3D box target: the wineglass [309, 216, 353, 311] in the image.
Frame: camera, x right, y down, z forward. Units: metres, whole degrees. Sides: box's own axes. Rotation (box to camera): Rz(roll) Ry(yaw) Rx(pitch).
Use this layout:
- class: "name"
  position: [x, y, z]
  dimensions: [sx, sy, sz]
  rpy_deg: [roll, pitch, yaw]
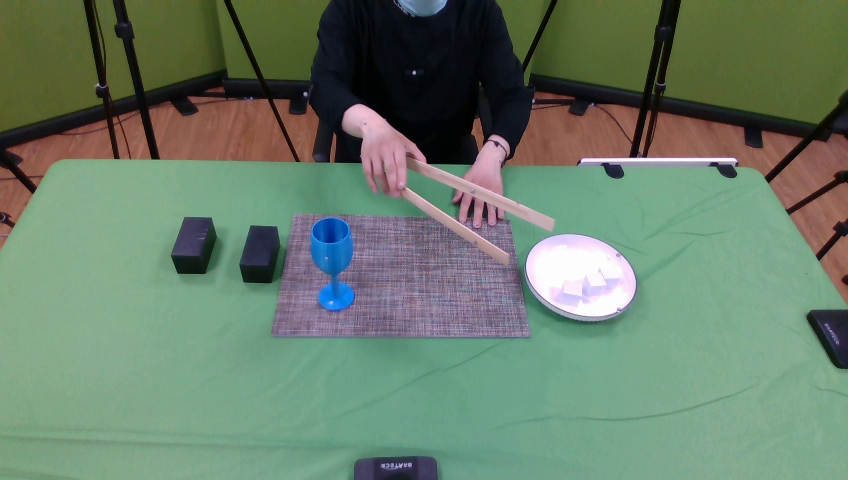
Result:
- class: "wineglass"
  position: [-0.156, 0.043, 1.032]
  dimensions: [0.074, 0.173, 0.073]
  rpy_deg: [2, 46, -2]

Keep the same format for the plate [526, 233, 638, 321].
- class: "plate"
  position: [0.292, 0.071, 1.135]
  dimensions: [0.209, 0.038, 0.208]
  rpy_deg: [2, 46, -2]

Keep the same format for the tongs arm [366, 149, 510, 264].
- class: "tongs arm"
  position: [0.008, -0.067, 1.059]
  dimensions: [0.028, 0.028, 0.385]
  rpy_deg: [-29, 48, -30]

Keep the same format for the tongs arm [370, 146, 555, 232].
- class: "tongs arm"
  position: [0.057, -0.096, 1.104]
  dimensions: [0.383, 0.026, 0.051]
  rpy_deg: [29, 44, 28]
